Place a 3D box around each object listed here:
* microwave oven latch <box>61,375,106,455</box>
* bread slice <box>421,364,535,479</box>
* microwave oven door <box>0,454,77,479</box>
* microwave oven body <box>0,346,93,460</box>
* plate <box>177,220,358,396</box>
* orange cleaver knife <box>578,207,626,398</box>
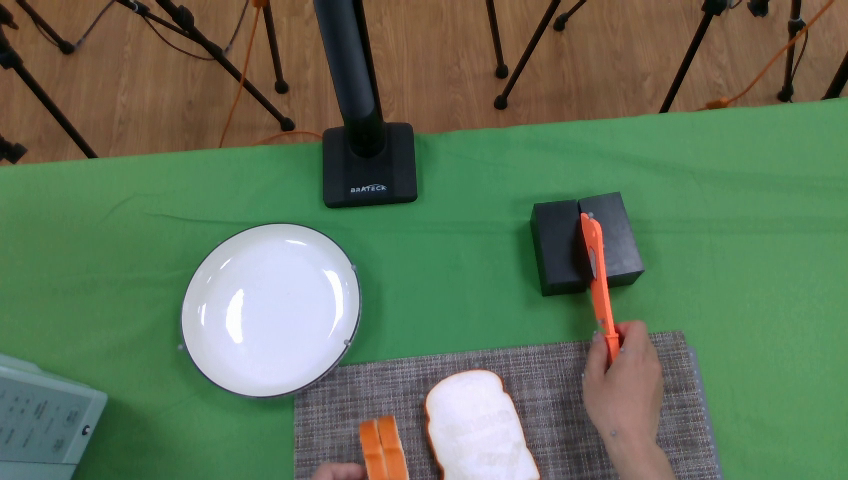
[{"bbox_3d":[-0.377,0.190,0.656,0.030,0.030,0.079,17,72,8],"label":"microwave oven latch"},{"bbox_3d":[0.055,0.204,0.661,0.107,0.018,0.133,-12,78,-8],"label":"bread slice"},{"bbox_3d":[-0.448,0.349,0.491,0.039,0.245,0.354,15,71,9],"label":"microwave oven door"},{"bbox_3d":[-0.575,0.276,0.529,0.325,0.262,0.439,15,71,8],"label":"microwave oven body"},{"bbox_3d":[-0.178,0.078,0.709,0.207,0.039,0.206,-1,69,2],"label":"plate"},{"bbox_3d":[0.195,0.066,0.674,0.012,0.077,0.211,-9,90,2],"label":"orange cleaver knife"}]
